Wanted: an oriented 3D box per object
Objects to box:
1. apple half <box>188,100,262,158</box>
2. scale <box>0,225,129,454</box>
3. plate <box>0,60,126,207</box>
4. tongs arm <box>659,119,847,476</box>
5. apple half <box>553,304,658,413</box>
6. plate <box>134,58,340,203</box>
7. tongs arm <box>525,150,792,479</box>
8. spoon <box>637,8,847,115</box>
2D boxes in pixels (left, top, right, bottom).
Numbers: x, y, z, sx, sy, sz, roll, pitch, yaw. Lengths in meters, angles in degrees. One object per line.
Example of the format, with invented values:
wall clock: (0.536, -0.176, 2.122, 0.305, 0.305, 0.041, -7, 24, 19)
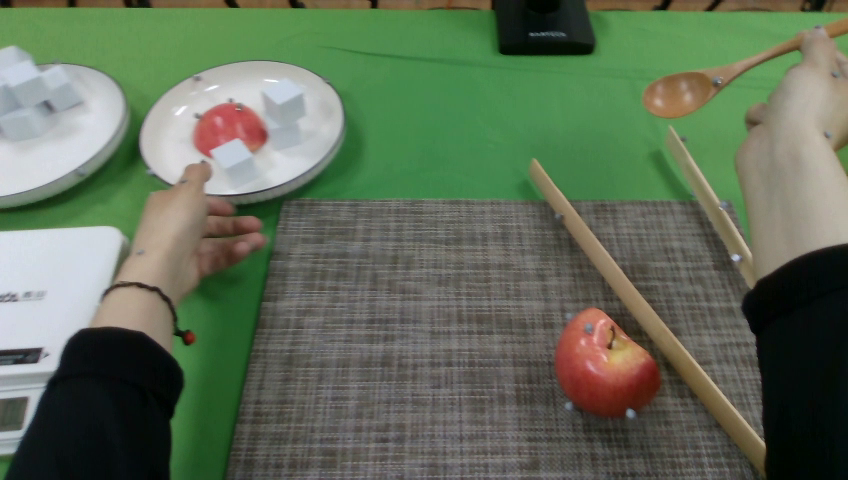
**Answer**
apple half: (-0.212, -0.123, 0.639, 0.081, 0.033, 0.080, -2, 51, 2)
scale: (-0.336, 0.075, 0.500, 0.149, 0.032, 0.199, -4, 54, -3)
plate: (-0.417, -0.110, 0.634, 0.208, 0.039, 0.205, 0, 53, 0)
tongs arm: (0.271, 0.035, 0.530, 0.051, 0.027, 0.380, -9, 55, -9)
apple half: (0.127, 0.097, 0.457, 0.053, 0.075, 0.080, -33, 63, -18)
plate: (-0.191, -0.114, 0.639, 0.209, 0.038, 0.207, 0, 53, 0)
tongs arm: (0.191, 0.055, 0.516, 0.028, 0.028, 0.383, -19, 56, -19)
spoon: (0.263, -0.145, 0.468, 0.193, 0.022, 0.041, -21, 64, 25)
